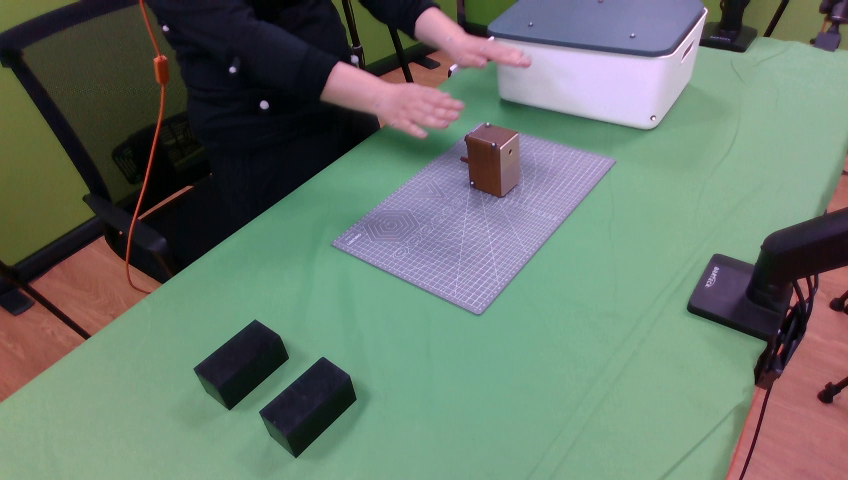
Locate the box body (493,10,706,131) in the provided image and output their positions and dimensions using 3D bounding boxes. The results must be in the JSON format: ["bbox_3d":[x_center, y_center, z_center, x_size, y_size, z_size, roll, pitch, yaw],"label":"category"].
[{"bbox_3d":[0.354,-0.377,1.254,0.361,0.161,0.254,20,48,28],"label":"box body"}]

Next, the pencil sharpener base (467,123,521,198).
[{"bbox_3d":[0.120,-0.138,1.044,0.076,0.107,0.061,23,50,32],"label":"pencil sharpener base"}]

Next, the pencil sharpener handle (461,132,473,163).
[{"bbox_3d":[0.078,-0.164,1.063,0.030,0.068,0.036,23,46,33],"label":"pencil sharpener handle"}]

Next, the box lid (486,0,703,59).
[{"bbox_3d":[0.338,-0.437,1.204,0.369,0.015,0.264,18,47,29],"label":"box lid"}]
